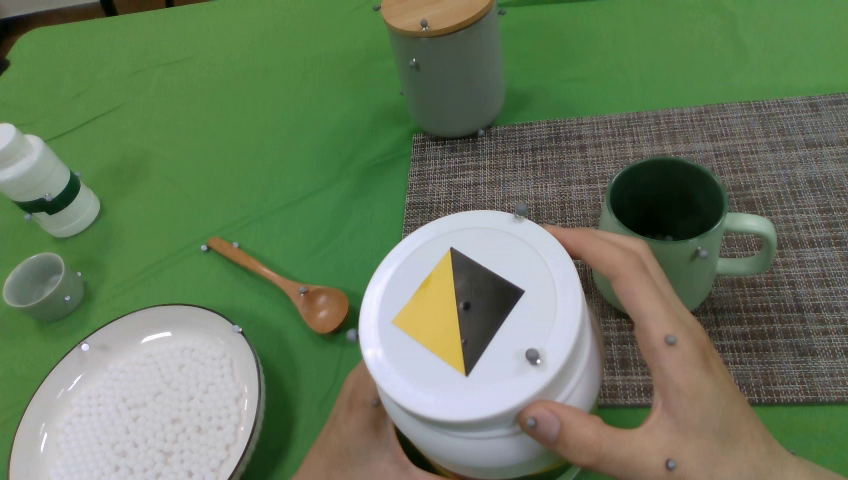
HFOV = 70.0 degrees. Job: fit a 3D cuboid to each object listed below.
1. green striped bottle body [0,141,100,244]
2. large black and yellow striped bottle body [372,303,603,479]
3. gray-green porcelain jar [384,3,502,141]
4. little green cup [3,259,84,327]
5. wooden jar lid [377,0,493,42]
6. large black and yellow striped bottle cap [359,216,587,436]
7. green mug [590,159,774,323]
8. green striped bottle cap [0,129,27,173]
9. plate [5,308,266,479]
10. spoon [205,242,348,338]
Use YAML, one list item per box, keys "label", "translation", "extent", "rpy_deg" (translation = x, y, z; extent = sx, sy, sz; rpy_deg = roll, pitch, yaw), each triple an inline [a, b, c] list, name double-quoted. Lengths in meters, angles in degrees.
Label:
- label: "green striped bottle body"
  translation: [-0.397, -0.054, 0.620]
  extent: [0.063, 0.120, 0.062]
  rpy_deg: [-6, 54, 9]
- label: "large black and yellow striped bottle body"
  translation: [0.042, 0.087, 0.378]
  extent: [0.130, 0.186, 0.129]
  rpy_deg: [-5, 59, 9]
- label: "gray-green porcelain jar"
  translation: [0.023, -0.171, 0.604]
  extent: [0.106, 0.128, 0.105]
  rpy_deg: [-6, 50, 8]
- label: "little green cup"
  translation: [-0.366, 0.054, 0.588]
  extent: [0.061, 0.039, 0.061]
  rpy_deg: [-6, 52, 9]
- label: "wooden jar lid"
  translation: [0.011, -0.212, 0.556]
  extent: [0.108, 0.021, 0.107]
  rpy_deg: [-8, 52, 11]
- label: "large black and yellow striped bottle cap"
  translation: [0.022, 0.039, 0.303]
  extent: [0.115, 0.019, 0.114]
  rpy_deg: [-11, 55, 16]
- label: "green mug"
  translation: [0.190, 0.004, 0.452]
  extent: [0.125, 0.106, 0.092]
  rpy_deg: [4, 56, 16]
- label: "green striped bottle cap"
  translation: [-0.406, -0.084, 0.579]
  extent: [0.044, 0.020, 0.044]
  rpy_deg: [-4, 55, 7]
- label: "plate"
  translation: [-0.222, 0.153, 0.485]
  extent: [0.209, 0.038, 0.207]
  rpy_deg: [-6, 54, 8]
- label: "spoon"
  translation: [-0.142, 0.037, 0.559]
  extent: [0.192, 0.022, 0.041]
  rpy_deg: [26, 80, 27]
